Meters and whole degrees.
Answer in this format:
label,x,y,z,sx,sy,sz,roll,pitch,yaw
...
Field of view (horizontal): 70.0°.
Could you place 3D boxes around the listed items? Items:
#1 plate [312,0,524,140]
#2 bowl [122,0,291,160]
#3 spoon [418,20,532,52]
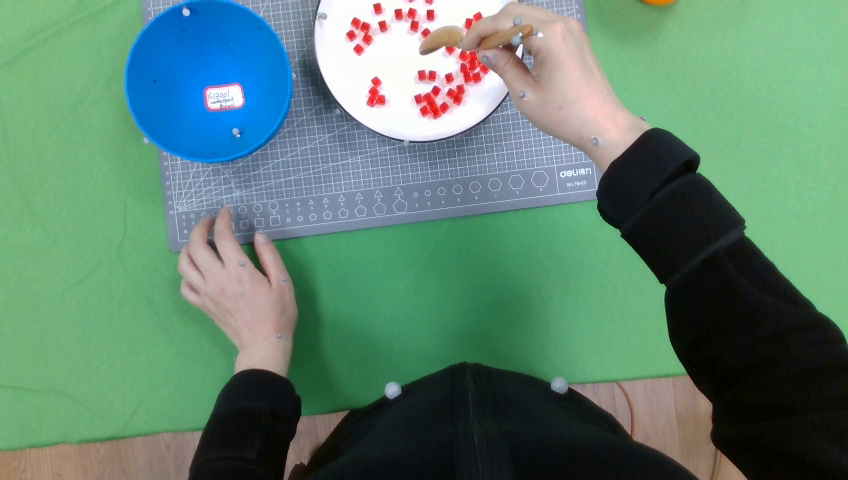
label,x,y,z,sx,sy,sz,roll,pitch,yaw
plate,-0.006,-0.202,0.606,0.209,0.038,0.209,0,89,-1
bowl,-0.196,-0.146,0.581,0.151,0.077,0.151,0,89,-1
spoon,0.038,-0.158,0.471,0.041,0.192,0.022,-28,115,-10
